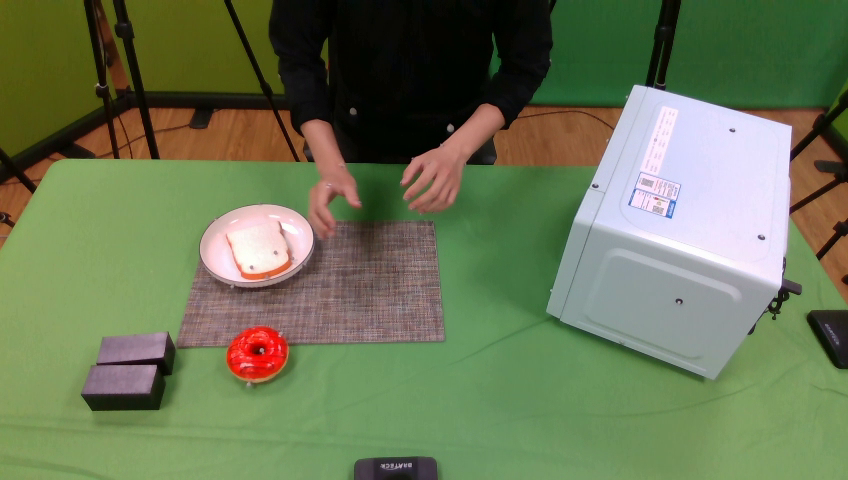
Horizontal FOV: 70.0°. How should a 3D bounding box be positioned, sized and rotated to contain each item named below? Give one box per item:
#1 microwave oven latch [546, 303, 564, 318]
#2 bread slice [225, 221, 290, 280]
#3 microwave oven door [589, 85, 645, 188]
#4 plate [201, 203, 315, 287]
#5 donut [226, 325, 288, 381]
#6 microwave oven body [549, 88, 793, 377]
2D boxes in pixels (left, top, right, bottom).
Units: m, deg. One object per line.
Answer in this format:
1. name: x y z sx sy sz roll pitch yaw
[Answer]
1. microwave oven latch: 0.242 0.102 1.081 0.030 0.029 0.079 22 48 17
2. bread slice: -0.308 0.019 1.141 0.105 0.019 0.130 -17 49 -18
3. microwave oven door: 0.342 -0.107 1.149 0.039 0.245 0.354 20 48 15
4. plate: -0.310 0.013 1.145 0.208 0.039 0.206 2 46 -2
5. donut: -0.270 0.182 0.984 0.099 0.048 0.098 5 49 -5
6. microwave oven body: 0.456 -0.028 1.087 0.325 0.261 0.440 20 47 16
